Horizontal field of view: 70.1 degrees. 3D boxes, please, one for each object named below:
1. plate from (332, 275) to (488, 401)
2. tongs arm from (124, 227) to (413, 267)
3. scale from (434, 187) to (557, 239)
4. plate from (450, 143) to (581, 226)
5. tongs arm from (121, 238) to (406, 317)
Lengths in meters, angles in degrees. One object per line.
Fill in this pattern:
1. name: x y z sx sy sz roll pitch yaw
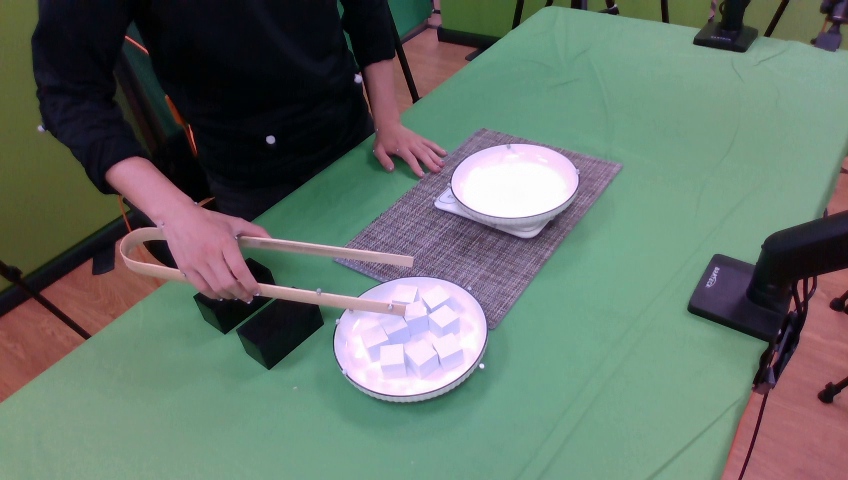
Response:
1. plate: -0.017 0.130 0.808 0.207 0.039 0.206 -4 41 4
2. tongs arm: -0.208 0.013 0.836 0.388 0.028 0.028 6 56 -4
3. scale: 0.132 -0.075 1.025 0.199 0.032 0.149 22 48 30
4. plate: 0.148 -0.087 0.986 0.209 0.038 0.208 -4 41 4
5. tongs arm: -0.213 0.050 0.805 0.385 0.026 0.050 8 53 -2
